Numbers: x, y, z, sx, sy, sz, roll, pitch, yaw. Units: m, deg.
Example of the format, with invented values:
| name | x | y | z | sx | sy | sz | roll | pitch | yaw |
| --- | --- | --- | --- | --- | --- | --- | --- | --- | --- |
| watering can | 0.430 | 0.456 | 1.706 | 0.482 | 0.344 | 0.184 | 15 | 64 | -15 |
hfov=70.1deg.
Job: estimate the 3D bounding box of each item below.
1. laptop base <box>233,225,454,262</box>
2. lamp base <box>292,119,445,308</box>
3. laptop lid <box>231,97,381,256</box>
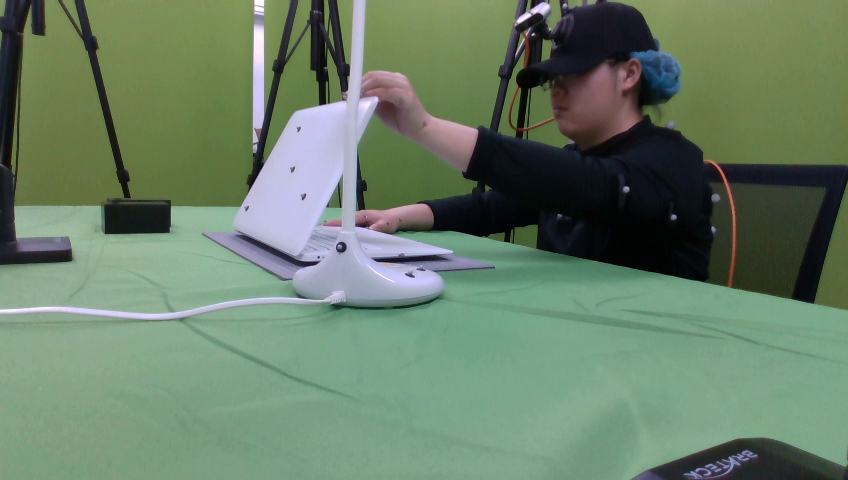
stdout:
| name | x | y | z | sx | sy | sz | roll | pitch | yaw |
| --- | --- | --- | --- | --- | --- | --- | --- | --- | --- |
| laptop base | -0.143 | 0.003 | 0.957 | 0.237 | 0.023 | 0.352 | 2 | 6 | -32 |
| lamp base | -0.056 | -0.030 | 0.616 | 0.160 | 0.180 | 0.179 | 3 | 10 | 8 |
| laptop lid | -0.194 | -0.105 | 0.909 | 0.013 | 0.241 | 0.355 | 31 | -7 | -31 |
